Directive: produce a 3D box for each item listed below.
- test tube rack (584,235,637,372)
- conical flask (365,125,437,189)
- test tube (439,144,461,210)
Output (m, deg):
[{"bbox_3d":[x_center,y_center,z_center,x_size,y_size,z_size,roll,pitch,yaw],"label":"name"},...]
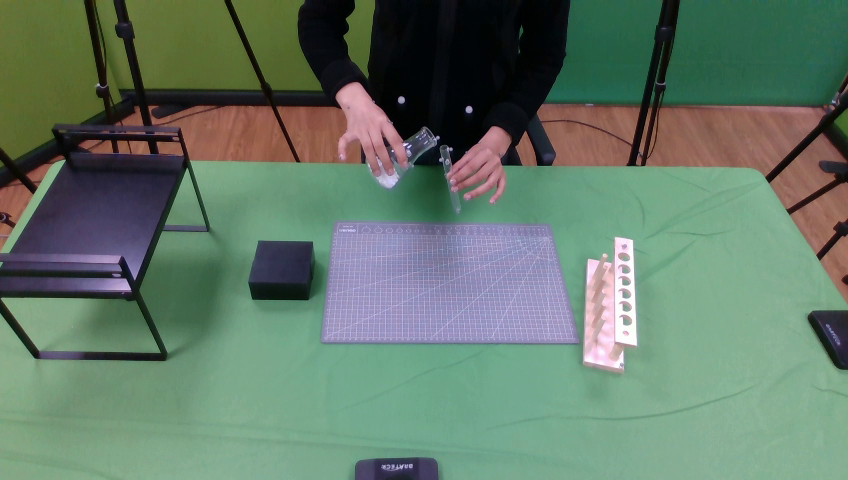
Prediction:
[{"bbox_3d":[0.329,0.103,1.073,0.067,0.085,0.241,11,47,7],"label":"test tube rack"},{"bbox_3d":[-0.036,-0.149,1.046,0.122,0.076,0.075,-34,45,19],"label":"conical flask"},{"bbox_3d":[0.049,-0.111,1.095,0.017,0.151,0.017,-8,45,8],"label":"test tube"}]
